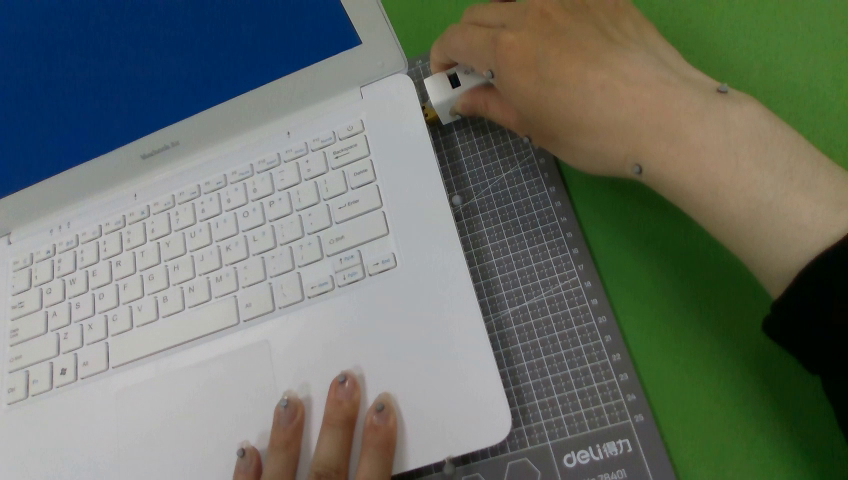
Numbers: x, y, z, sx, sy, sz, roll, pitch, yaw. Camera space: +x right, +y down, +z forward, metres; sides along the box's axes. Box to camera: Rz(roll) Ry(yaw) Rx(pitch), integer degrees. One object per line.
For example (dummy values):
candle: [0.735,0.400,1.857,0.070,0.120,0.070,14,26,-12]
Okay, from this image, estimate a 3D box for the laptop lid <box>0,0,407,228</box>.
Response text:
laptop lid: [-0.211,-0.124,0.338,0.356,0.244,0.013,-21,47,11]

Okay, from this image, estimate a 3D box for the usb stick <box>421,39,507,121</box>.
usb stick: [0.018,-0.092,0.362,0.059,0.027,0.021,-30,59,14]

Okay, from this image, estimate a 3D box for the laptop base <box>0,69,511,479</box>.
laptop base: [-0.143,0.051,0.376,0.354,0.023,0.233,-20,69,10]
